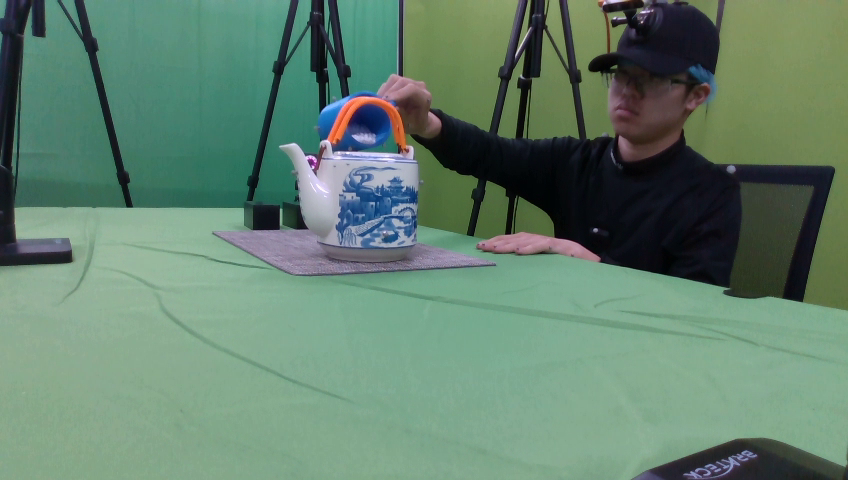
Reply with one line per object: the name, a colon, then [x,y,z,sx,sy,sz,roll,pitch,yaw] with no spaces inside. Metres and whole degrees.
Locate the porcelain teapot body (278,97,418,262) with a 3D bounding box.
porcelain teapot body: [-0.103,-0.086,0.842,0.206,0.225,0.144,-4,9,-38]

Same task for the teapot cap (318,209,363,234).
teapot cap: [-0.158,-0.036,1.144,0.085,0.044,0.085,0,6,0]

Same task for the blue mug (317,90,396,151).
blue mug: [-0.096,-0.189,0.933,0.117,0.082,0.105,-36,19,-23]
